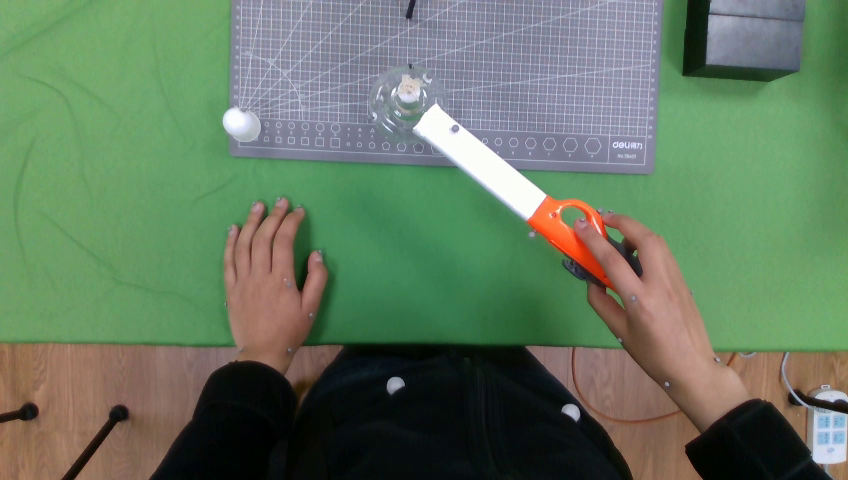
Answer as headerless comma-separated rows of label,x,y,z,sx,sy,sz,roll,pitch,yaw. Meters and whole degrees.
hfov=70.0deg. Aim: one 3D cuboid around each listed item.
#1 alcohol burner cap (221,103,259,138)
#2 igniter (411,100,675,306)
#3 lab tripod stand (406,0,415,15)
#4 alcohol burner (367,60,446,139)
alcohol burner cap,-0.186,-0.121,0.605,0.034,0.048,0.034,0,91,-4
igniter,0.108,-0.027,0.535,0.277,0.025,0.057,37,88,-5
lab tripod stand,0.030,-0.289,0.564,0.148,0.131,0.148,0,92,-2
alcohol burner,-0.017,-0.137,0.580,0.078,0.119,0.078,0,94,-2
